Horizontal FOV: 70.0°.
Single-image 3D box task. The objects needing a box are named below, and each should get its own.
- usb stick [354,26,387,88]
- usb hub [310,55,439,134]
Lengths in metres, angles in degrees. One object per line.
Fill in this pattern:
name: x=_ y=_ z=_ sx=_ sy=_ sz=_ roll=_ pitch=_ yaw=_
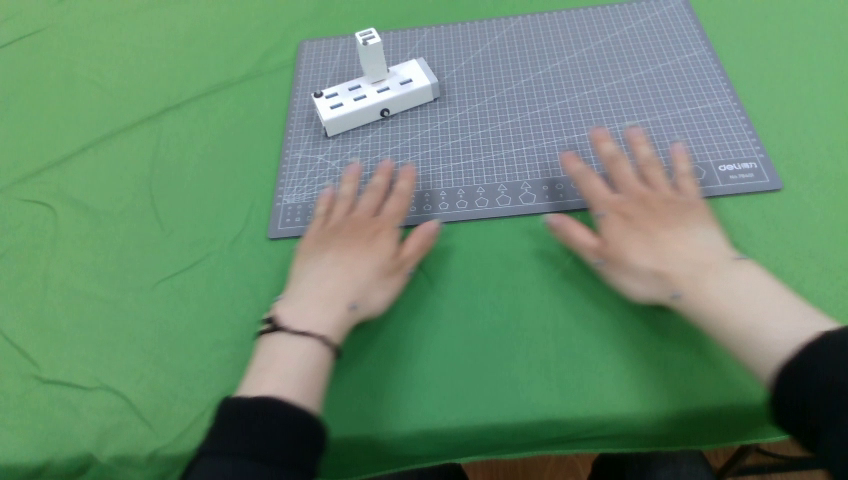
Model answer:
usb stick: x=-0.053 y=-0.182 z=0.613 sx=0.021 sy=0.060 sz=0.027 roll=-22 pitch=52 yaw=-9
usb hub: x=-0.051 y=-0.152 z=0.627 sx=0.125 sy=0.025 sz=0.049 roll=-21 pitch=53 yaw=-8
